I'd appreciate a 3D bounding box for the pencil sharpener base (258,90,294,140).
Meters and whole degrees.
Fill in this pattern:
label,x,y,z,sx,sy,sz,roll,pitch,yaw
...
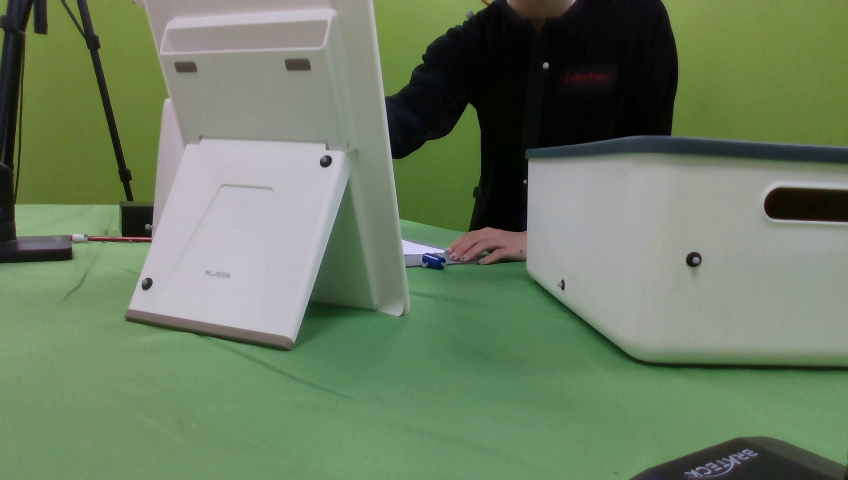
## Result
label,x,y,z,sx,sy,sz,roll,pitch,yaw
pencil sharpener base,-0.341,-0.285,1.388,0.062,0.107,0.076,-3,9,-36

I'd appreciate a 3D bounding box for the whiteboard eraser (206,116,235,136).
label,x,y,z,sx,sy,sz,roll,pitch,yaw
whiteboard eraser,-0.449,-0.251,1.335,0.056,0.042,0.112,1,7,-22

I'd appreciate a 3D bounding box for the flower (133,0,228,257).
label,x,y,z,sx,sy,sz,roll,pitch,yaw
flower,-0.283,-0.146,0.712,0.038,0.362,0.044,-22,23,-31

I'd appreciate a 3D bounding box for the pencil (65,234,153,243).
label,x,y,z,sx,sy,sz,roll,pitch,yaw
pencil,-0.429,0.000,0.910,0.195,0.012,0.012,2,7,-19

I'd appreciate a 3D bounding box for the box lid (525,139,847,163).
label,x,y,z,sx,sy,sz,roll,pitch,yaw
box lid,0.261,-0.078,0.580,0.264,0.015,0.371,2,7,-4

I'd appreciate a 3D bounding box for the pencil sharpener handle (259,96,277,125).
label,x,y,z,sx,sy,sz,roll,pitch,yaw
pencil sharpener handle,-0.373,-0.304,1.425,0.036,0.067,0.030,13,-1,-37

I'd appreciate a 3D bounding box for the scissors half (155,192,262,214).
label,x,y,z,sx,sy,sz,roll,pitch,yaw
scissors half,-0.371,-0.068,1.051,0.176,0.040,0.013,2,25,-24

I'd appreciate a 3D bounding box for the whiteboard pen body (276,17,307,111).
label,x,y,z,sx,sy,sz,roll,pitch,yaw
whiteboard pen body,-0.125,-0.166,0.566,0.017,0.017,0.140,2,51,-4

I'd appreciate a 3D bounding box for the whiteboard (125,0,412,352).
label,x,y,z,sx,sy,sz,roll,pitch,yaw
whiteboard,-0.151,-0.049,0.471,0.216,0.305,0.144,6,27,24

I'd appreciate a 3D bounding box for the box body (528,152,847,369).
label,x,y,z,sx,sy,sz,roll,pitch,yaw
box body,0.257,-0.005,0.591,0.254,0.160,0.363,2,7,-4

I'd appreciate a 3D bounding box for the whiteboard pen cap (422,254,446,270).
label,x,y,z,sx,sy,sz,roll,pitch,yaw
whiteboard pen cap,0.013,0.028,0.806,0.018,0.018,0.033,-4,13,-41

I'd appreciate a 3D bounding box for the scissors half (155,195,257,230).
label,x,y,z,sx,sy,sz,roll,pitch,yaw
scissors half,-0.378,-0.051,1.059,0.176,0.040,0.012,20,22,-31

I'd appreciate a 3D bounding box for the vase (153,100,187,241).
label,x,y,z,sx,sy,sz,roll,pitch,yaw
vase,-0.278,-0.066,0.736,0.098,0.200,0.098,2,9,0
